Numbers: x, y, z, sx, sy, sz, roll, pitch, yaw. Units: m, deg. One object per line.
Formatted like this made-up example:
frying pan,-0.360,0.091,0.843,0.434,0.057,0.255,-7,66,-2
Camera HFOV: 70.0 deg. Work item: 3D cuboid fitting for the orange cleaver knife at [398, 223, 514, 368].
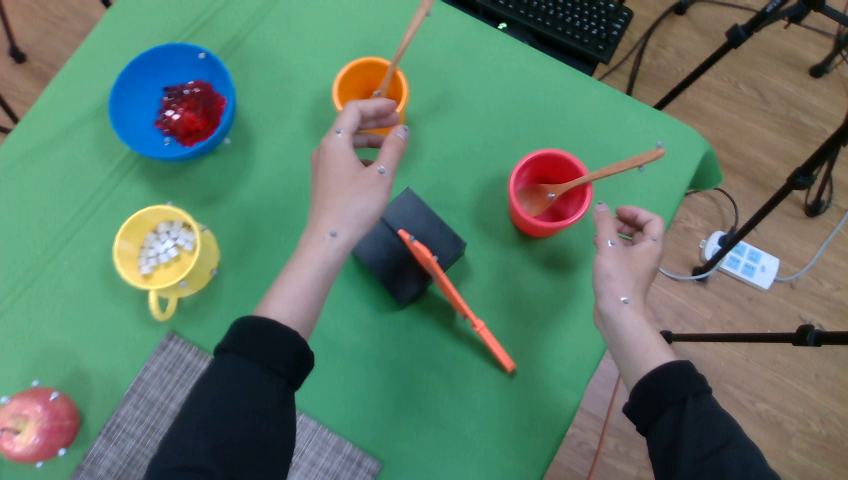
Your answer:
orange cleaver knife,0.037,0.065,0.698,0.012,0.076,0.213,-39,112,-7

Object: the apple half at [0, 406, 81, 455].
apple half,-0.432,0.211,0.674,0.081,0.075,0.053,10,81,-1

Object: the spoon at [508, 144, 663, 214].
spoon,0.180,-0.072,0.701,0.193,0.022,0.041,-20,72,41

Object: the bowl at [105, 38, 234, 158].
bowl,-0.304,-0.164,0.757,0.151,0.077,0.150,0,78,0

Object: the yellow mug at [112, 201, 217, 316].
yellow mug,-0.307,0.025,0.720,0.100,0.064,0.130,-1,78,0

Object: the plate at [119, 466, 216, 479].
plate,-0.281,0.351,0.655,0.209,0.038,0.208,0,77,0

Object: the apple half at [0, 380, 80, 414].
apple half,-0.426,0.174,0.681,0.081,0.081,0.032,10,80,3

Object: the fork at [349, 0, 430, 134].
fork,-0.039,-0.216,0.731,0.028,0.018,0.208,41,124,12
